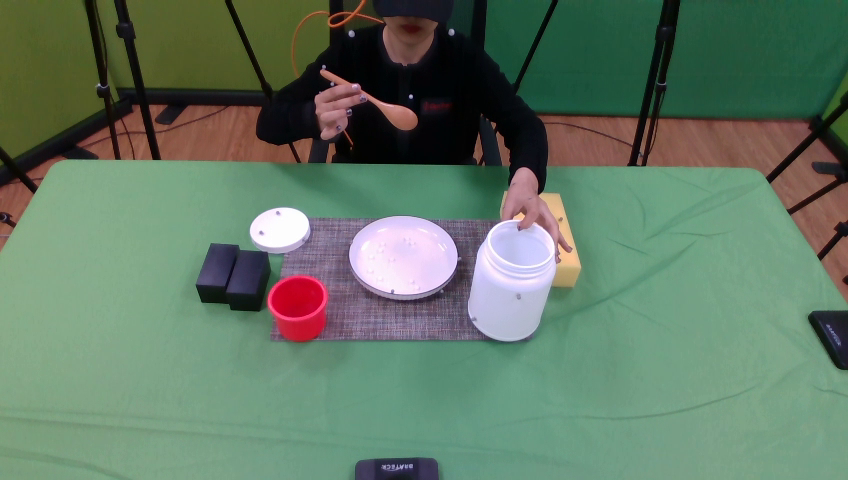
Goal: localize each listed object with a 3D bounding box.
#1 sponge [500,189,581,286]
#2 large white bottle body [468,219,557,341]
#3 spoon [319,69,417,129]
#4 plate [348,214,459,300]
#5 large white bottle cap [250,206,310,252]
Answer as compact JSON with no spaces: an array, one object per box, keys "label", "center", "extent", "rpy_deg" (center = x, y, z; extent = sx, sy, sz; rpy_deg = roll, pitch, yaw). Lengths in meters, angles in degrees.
[{"label":"sponge","center":[0.224,-0.007,1.192],"extent":[0.118,0.061,0.205],"rpy_deg":[1,47,-5]},{"label":"large white bottle body","center":[0.148,0.066,1.016],"extent":[0.131,0.185,0.130],"rpy_deg":[3,46,-3]},{"label":"spoon","center":[-0.098,-0.248,1.053],"extent":[0.193,0.042,0.021],"rpy_deg":[31,36,8]},{"label":"plate","center":[-0.040,0.034,1.146],"extent":[0.209,0.038,0.208],"rpy_deg":[2,46,-2]},{"label":"large white bottle cap","center":[-0.284,-0.023,1.198],"extent":[0.115,0.018,0.114],"rpy_deg":[1,46,0]}]
